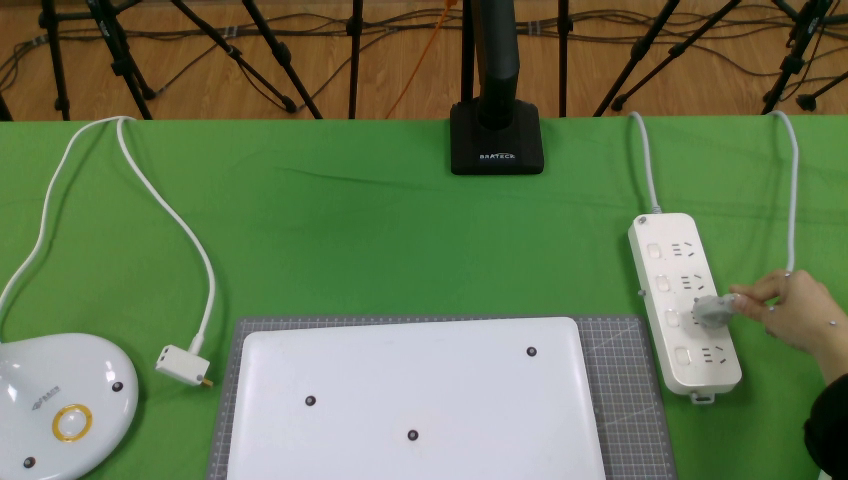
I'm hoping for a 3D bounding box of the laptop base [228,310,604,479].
[{"bbox_3d":[-0.010,0.186,0.596,0.354,0.023,0.233,-3,62,-1],"label":"laptop base"}]

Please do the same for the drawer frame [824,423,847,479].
[{"bbox_3d":[0.481,0.212,0.524,0.200,0.083,0.213,34,60,19],"label":"drawer frame"}]

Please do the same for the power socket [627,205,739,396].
[{"bbox_3d":[0.278,0.056,0.663,0.072,0.033,0.224,-1,58,-1],"label":"power socket"}]

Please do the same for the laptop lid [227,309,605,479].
[{"bbox_3d":[-0.010,0.182,0.585,0.357,0.013,0.239,-2,61,0],"label":"laptop lid"}]

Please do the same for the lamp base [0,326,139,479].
[{"bbox_3d":[-0.385,0.115,0.552,0.178,0.182,0.160,23,61,18],"label":"lamp base"}]

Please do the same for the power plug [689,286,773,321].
[{"bbox_3d":[0.309,0.068,0.619,0.072,0.053,0.035,10,66,1],"label":"power plug"}]

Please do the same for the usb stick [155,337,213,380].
[{"bbox_3d":[-0.241,0.124,0.622,0.021,0.060,0.027,-21,41,41],"label":"usb stick"}]

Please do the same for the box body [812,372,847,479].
[{"bbox_3d":[0.463,0.234,0.473,0.252,0.162,0.363,29,63,18],"label":"box body"}]

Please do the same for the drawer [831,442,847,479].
[{"bbox_3d":[0.485,0.213,0.523,0.193,0.074,0.211,33,66,21],"label":"drawer"}]
